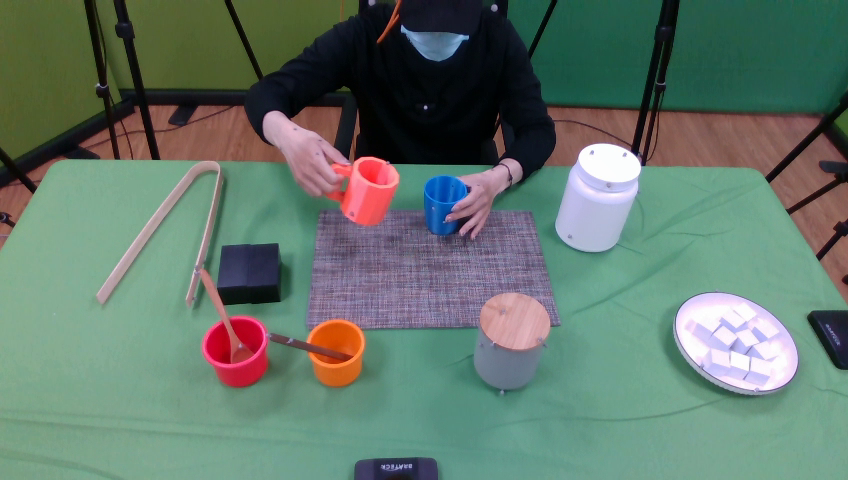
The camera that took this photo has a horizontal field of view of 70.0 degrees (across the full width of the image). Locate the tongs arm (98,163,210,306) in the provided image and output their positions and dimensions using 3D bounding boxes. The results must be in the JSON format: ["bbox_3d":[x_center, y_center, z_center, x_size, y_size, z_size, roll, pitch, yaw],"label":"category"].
[{"bbox_3d":[-0.520,-0.026,1.185,0.028,0.028,0.385,4,45,13],"label":"tongs arm"}]

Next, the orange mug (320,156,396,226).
[{"bbox_3d":[-0.122,-0.095,1.105,0.126,0.101,0.083,19,42,-15],"label":"orange mug"}]

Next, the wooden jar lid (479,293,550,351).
[{"bbox_3d":[0.137,0.127,0.925,0.108,0.021,0.107,1,47,-1],"label":"wooden jar lid"}]

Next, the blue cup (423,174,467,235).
[{"bbox_3d":[0.038,-0.066,1.201,0.093,0.101,0.092,2,47,-2],"label":"blue cup"}]

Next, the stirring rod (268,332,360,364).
[{"bbox_3d":[-0.167,0.169,0.941,0.177,0.006,0.014,26,25,-40],"label":"stirring rod"}]

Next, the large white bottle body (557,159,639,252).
[{"bbox_3d":[0.340,-0.081,1.184,0.131,0.185,0.130,2,46,-1],"label":"large white bottle body"}]

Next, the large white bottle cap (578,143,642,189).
[{"bbox_3d":[0.344,-0.139,1.123,0.115,0.018,0.114,2,46,-2],"label":"large white bottle cap"}]

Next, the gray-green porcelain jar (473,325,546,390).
[{"bbox_3d":[0.135,0.170,0.969,0.106,0.127,0.105,2,46,-2],"label":"gray-green porcelain jar"}]

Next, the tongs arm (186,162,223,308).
[{"bbox_3d":[-0.436,-0.024,1.181,0.051,0.027,0.382,-3,45,1],"label":"tongs arm"}]

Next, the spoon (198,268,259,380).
[{"bbox_3d":[-0.313,0.133,0.962,0.041,0.021,0.194,-24,96,-21],"label":"spoon"}]

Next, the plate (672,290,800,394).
[{"bbox_3d":[0.533,0.178,1.050,0.208,0.039,0.206,2,46,-2],"label":"plate"}]
